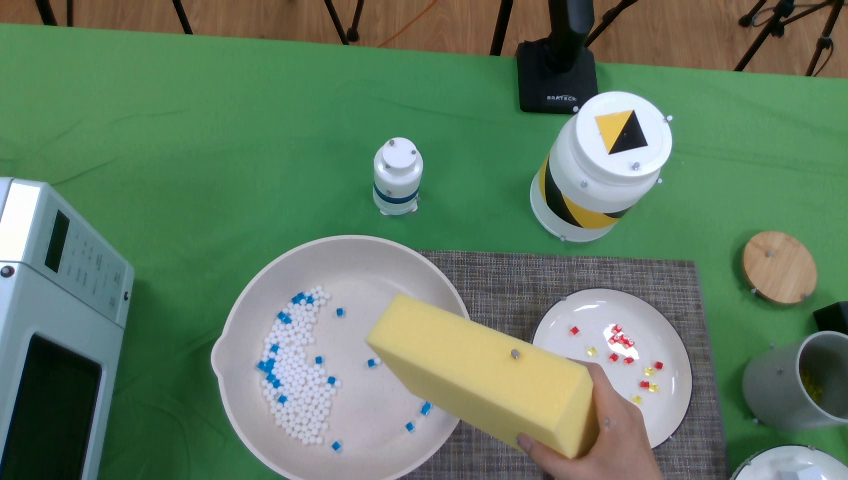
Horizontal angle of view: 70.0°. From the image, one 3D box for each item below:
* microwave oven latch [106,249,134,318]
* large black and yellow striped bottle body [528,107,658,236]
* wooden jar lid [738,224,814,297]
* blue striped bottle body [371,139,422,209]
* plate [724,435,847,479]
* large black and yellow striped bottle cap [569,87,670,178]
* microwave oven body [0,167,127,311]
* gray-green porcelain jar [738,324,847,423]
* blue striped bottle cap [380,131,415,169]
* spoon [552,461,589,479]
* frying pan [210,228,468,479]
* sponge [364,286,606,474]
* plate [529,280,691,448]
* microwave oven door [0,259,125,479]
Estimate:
[{"bbox_3d":[-0.367,0.052,0.721,0.030,0.029,0.078,4,70,-5],"label":"microwave oven latch"},{"bbox_3d":[0.219,-0.096,0.783,0.131,0.185,0.130,2,69,-5],"label":"large black and yellow striped bottle body"},{"bbox_3d":[0.494,0.030,0.855,0.108,0.021,0.107,2,71,-5],"label":"wooden jar lid"},{"bbox_3d":[-0.037,-0.092,0.787,0.063,0.121,0.062,2,69,-5],"label":"blue striped bottle body"},{"bbox_3d":[0.450,0.342,0.725,0.208,0.039,0.206,2,69,-5],"label":"plate"},{"bbox_3d":[0.227,-0.126,0.703,0.115,0.019,0.114,2,68,-5],"label":"large black and yellow striped bottle cap"},{"bbox_3d":[-0.508,0.175,0.556,0.326,0.261,0.438,3,70,-6],"label":"microwave oven body"},{"bbox_3d":[0.462,0.168,0.743,0.106,0.127,0.105,2,69,-5],"label":"gray-green porcelain jar"},{"bbox_3d":[-0.032,-0.110,0.738,0.044,0.021,0.044,2,67,-4],"label":"blue striped bottle cap"},{"bbox_3d":[0.224,0.324,0.712,0.193,0.022,0.041,41,54,8],"label":"spoon"},{"bbox_3d":[-0.086,0.222,0.671,0.307,0.103,0.483,0,61,-4],"label":"frying pan"},{"bbox_3d":[0.055,0.127,0.570,0.205,0.119,0.060,18,62,37],"label":"sponge"},{"bbox_3d":[0.229,0.154,0.765,0.209,0.038,0.207,2,70,-5],"label":"plate"},{"bbox_3d":[-0.363,0.220,0.550,0.039,0.245,0.353,2,69,-5],"label":"microwave oven door"}]
